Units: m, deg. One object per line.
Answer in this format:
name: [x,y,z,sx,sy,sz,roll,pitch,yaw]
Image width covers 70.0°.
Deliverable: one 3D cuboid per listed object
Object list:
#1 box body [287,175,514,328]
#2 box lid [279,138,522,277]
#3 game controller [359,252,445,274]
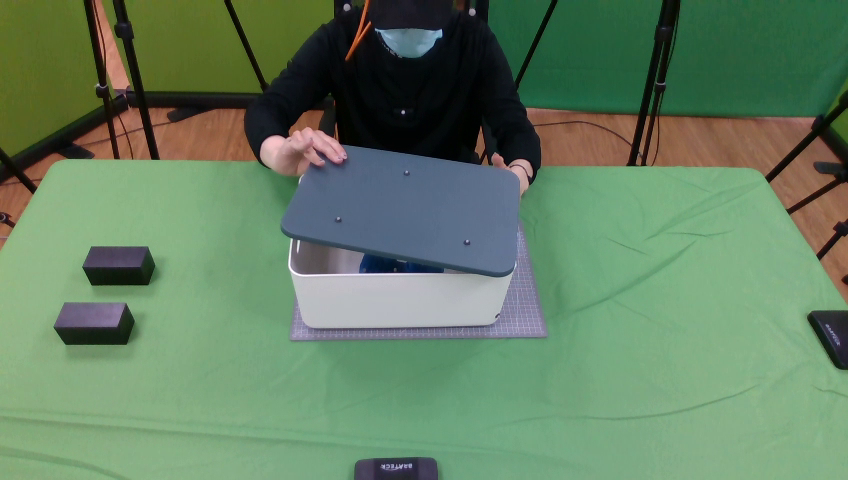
box body: [-0.040,0.015,1.075,0.364,0.161,0.252,-1,47,-4]
box lid: [-0.023,-0.063,0.994,0.371,0.015,0.262,10,44,2]
game controller: [-0.043,0.054,1.106,0.155,0.052,0.096,11,55,8]
